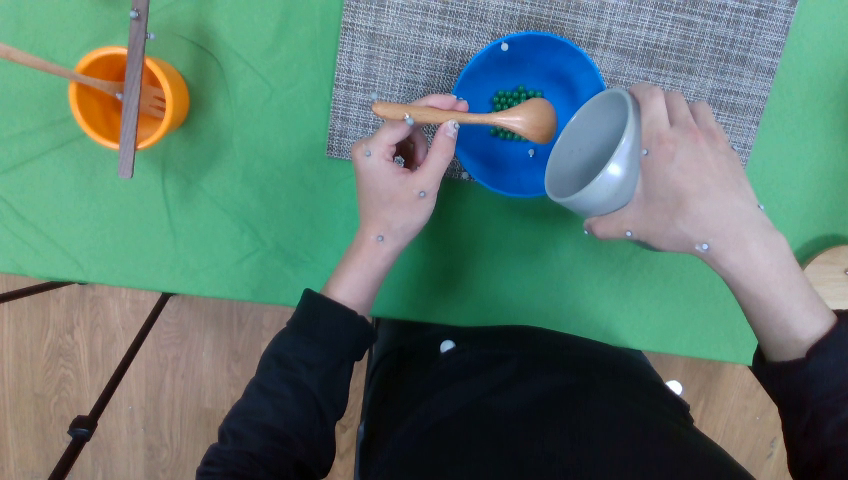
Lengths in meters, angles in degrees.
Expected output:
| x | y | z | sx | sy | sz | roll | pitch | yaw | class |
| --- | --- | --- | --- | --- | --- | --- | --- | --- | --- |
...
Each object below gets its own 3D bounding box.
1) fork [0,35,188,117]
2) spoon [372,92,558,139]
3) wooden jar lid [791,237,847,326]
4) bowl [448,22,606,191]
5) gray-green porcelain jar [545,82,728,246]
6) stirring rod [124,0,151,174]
| x | y | z | sx | sy | sz | roll | pitch | yaw | class |
| --- | --- | --- | --- | --- | --- | --- | --- | --- | --- |
| -0.306 | -0.150 | 0.530 | 0.209 | 0.018 | 0.028 | 13 | 114 | -52 | fork |
| 0.042 | -0.106 | 0.499 | 0.195 | 0.021 | 0.041 | -4 | 96 | -30 | spoon |
| 0.477 | 0.047 | 0.703 | 0.108 | 0.020 | 0.109 | -1 | 108 | -2 | wooden jar lid |
| 0.095 | -0.129 | 0.592 | 0.151 | 0.076 | 0.152 | -1 | 107 | -2 | bowl |
| 0.188 | -0.060 | 0.530 | 0.127 | 0.105 | 0.106 | 25 | 104 | -20 | gray-green porcelain jar |
| -0.252 | -0.144 | 0.532 | 0.014 | 0.006 | 0.177 | 10 | 106 | -5 | stirring rod |
